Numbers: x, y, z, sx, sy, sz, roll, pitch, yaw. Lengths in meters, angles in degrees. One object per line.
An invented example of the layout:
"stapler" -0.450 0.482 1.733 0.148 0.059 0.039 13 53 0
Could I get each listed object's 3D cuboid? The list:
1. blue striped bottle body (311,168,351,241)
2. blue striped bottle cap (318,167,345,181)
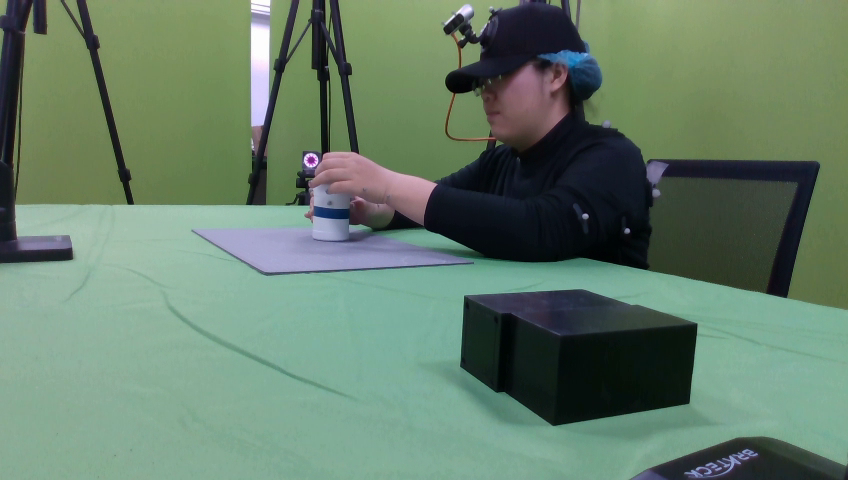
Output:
"blue striped bottle body" -0.157 -0.061 1.019 0.063 0.120 0.063 4 6 0
"blue striped bottle cap" -0.154 -0.110 1.014 0.044 0.020 0.044 6 11 -1
